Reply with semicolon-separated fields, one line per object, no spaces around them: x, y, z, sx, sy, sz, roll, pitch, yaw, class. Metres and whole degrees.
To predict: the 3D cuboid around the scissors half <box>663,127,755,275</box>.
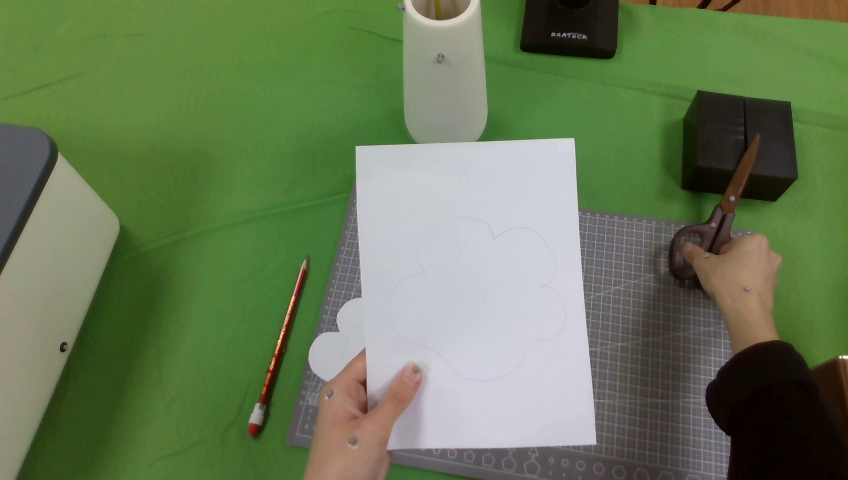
0.300;-0.042;0.630;0.040;0.013;0.175;32;90;-9;scissors half

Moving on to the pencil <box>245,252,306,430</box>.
-0.150;0.098;0.628;0.012;0.012;0.192;9;65;7;pencil

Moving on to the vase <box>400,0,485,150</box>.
0.017;-0.184;0.644;0.098;0.201;0.097;-1;64;3;vase

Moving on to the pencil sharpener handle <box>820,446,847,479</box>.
0.356;0.187;0.498;0.036;0.068;0.030;9;66;-8;pencil sharpener handle

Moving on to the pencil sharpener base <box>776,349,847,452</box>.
0.366;0.147;0.529;0.061;0.108;0.076;4;66;5;pencil sharpener base

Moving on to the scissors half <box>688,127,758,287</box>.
0.318;-0.034;0.632;0.040;0.013;0.175;16;93;-3;scissors half

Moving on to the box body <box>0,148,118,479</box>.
-0.488;0.075;0.567;0.254;0.161;0.361;8;66;6;box body

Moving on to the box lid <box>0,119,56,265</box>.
-0.492;0.041;0.500;0.263;0.015;0.369;8;66;6;box lid

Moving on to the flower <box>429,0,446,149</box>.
0.009;-0.232;0.574;0.044;0.365;0.038;1;48;7;flower
